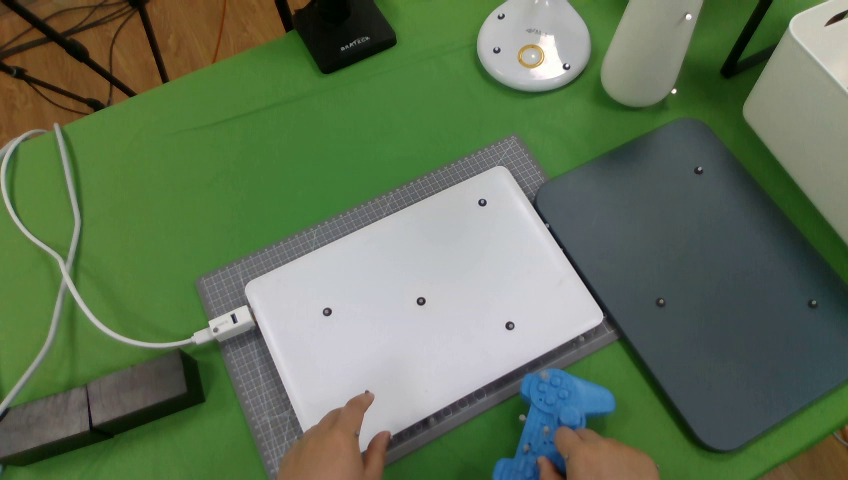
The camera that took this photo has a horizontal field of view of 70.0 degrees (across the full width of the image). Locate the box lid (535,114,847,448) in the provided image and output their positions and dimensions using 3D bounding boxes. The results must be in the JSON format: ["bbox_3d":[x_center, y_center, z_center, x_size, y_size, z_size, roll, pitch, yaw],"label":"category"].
[{"bbox_3d":[0.327,0.024,0.717,0.263,0.015,0.368,-26,68,-11],"label":"box lid"}]

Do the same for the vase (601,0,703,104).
[{"bbox_3d":[0.282,-0.259,0.745,0.098,0.201,0.097,-2,64,4],"label":"vase"}]

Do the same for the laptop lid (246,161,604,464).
[{"bbox_3d":[-0.001,0.066,0.692,0.357,0.013,0.239,-24,69,-9],"label":"laptop lid"}]

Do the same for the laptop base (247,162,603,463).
[{"bbox_3d":[-0.002,0.069,0.703,0.354,0.023,0.233,-26,71,-10],"label":"laptop base"}]

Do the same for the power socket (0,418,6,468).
[{"bbox_3d":[-0.518,0.166,0.668,0.072,0.033,0.224,-23,66,-10],"label":"power socket"}]

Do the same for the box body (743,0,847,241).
[{"bbox_3d":[0.587,-0.116,0.690,0.254,0.161,0.361,-24,67,-8],"label":"box body"}]

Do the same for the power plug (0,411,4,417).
[{"bbox_3d":[-0.460,0.207,0.626,0.072,0.053,0.035,-13,65,-7],"label":"power plug"}]

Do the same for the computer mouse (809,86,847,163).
[{"bbox_3d":[0.530,-0.151,0.770,0.062,0.041,0.116,8,62,9],"label":"computer mouse"}]

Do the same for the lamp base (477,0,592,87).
[{"bbox_3d":[0.154,-0.326,0.790,0.160,0.181,0.178,5,63,4],"label":"lamp base"}]

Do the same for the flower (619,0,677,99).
[{"bbox_3d":[0.297,-0.303,0.674,0.038,0.364,0.043,-10,55,-20],"label":"flower"}]

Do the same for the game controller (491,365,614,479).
[{"bbox_3d":[0.130,0.198,0.608,0.096,0.052,0.154,15,59,19],"label":"game controller"}]

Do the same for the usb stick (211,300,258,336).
[{"bbox_3d":[-0.208,0.086,0.688,0.059,0.027,0.021,-22,66,-14],"label":"usb stick"}]
